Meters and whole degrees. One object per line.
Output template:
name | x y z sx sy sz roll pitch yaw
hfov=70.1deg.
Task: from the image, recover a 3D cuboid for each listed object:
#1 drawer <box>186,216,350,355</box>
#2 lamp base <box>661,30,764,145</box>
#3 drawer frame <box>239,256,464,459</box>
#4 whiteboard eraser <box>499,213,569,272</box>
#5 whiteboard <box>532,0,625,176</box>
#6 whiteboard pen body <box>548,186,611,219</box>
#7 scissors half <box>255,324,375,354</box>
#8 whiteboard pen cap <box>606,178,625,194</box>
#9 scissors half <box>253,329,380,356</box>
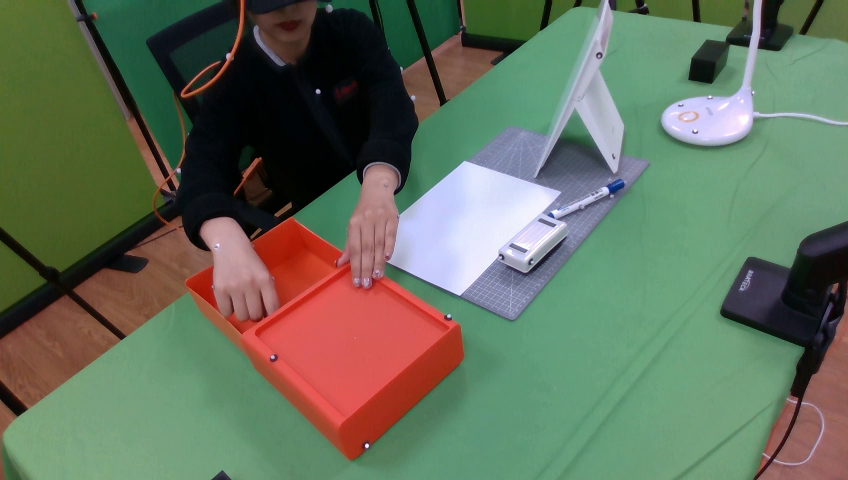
drawer | -0.208 0.075 0.893 0.195 0.073 0.210 -36 46 -29
lamp base | 0.535 -0.287 1.096 0.179 0.181 0.159 -10 40 -4
drawer frame | -0.093 0.139 0.789 0.211 0.083 0.202 29 52 36
whiteboard eraser | 0.168 0.006 0.923 0.055 0.042 0.113 29 53 34
whiteboard | 0.320 -0.259 1.050 0.144 0.306 0.217 21 45 5
whiteboard pen body | 0.267 -0.066 1.004 0.141 0.017 0.017 -25 43 -13
scissors half | -0.149 0.146 0.847 0.176 0.040 0.012 12 27 -25
whiteboard pen cap | 0.320 -0.090 1.016 0.033 0.018 0.018 -27 43 -13
scissors half | -0.147 0.136 0.841 0.176 0.040 0.012 -4 39 -17
